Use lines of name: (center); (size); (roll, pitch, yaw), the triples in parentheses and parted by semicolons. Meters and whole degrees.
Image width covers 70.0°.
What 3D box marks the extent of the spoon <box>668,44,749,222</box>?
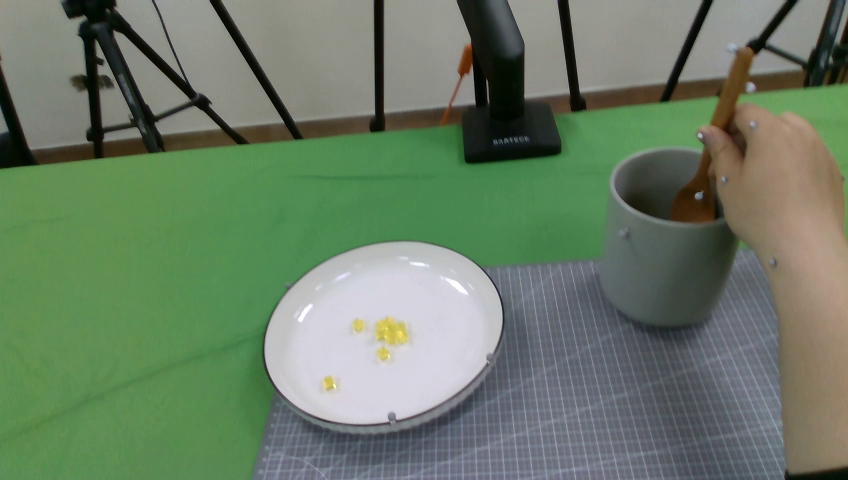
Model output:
spoon: (0.217, -0.065, 0.462); (0.021, 0.196, 0.041); (-36, 56, -12)

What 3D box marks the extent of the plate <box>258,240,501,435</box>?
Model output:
plate: (-0.037, 0.082, 0.529); (0.207, 0.039, 0.205); (-5, 41, 4)

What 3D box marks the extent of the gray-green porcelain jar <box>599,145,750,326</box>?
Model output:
gray-green porcelain jar: (0.203, 0.001, 0.510); (0.106, 0.128, 0.105); (-5, 42, 5)
